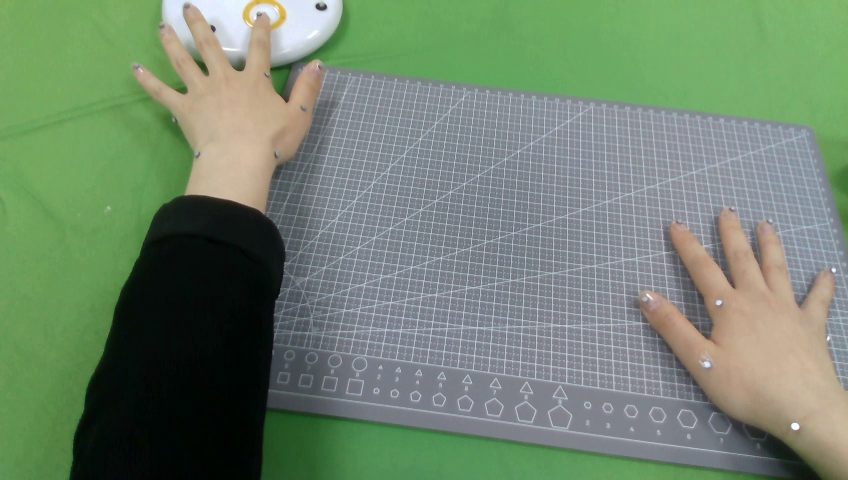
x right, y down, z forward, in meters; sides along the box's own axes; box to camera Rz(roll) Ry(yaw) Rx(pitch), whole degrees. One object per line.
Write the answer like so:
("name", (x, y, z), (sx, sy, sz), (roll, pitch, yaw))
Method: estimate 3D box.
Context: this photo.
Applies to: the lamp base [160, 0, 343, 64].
("lamp base", (-0.159, -0.267, 0.489), (0.161, 0.182, 0.177), (-29, 61, -20))
